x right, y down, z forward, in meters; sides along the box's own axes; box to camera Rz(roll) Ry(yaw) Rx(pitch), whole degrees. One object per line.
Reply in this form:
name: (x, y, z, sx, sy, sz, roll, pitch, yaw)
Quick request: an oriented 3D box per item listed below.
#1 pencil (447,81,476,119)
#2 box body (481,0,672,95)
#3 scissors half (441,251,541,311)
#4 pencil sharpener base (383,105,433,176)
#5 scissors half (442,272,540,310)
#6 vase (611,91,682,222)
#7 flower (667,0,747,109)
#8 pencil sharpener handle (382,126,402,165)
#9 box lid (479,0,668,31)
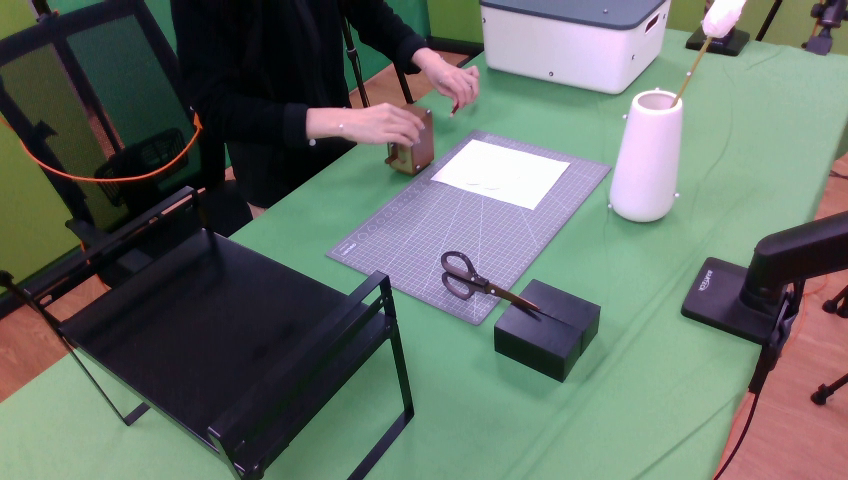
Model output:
pencil: (0.077, -0.289, 1.242, 0.012, 0.012, 0.194, 9, 37, 18)
box body: (0.341, -0.480, 1.381, 0.361, 0.161, 0.255, 22, 48, 30)
scissors half: (0.087, 0.056, 0.824, 0.173, 0.040, 0.013, 29, 44, 36)
pencil sharpener base: (-0.030, -0.183, 1.120, 0.061, 0.107, 0.077, 22, 44, 29)
scissors half: (0.089, 0.074, 0.833, 0.013, 0.040, 0.173, -24, 23, -38)
vase: (0.348, -0.125, 0.935, 0.098, 0.201, 0.097, -3, 40, 3)
flower: (0.354, -0.187, 0.879, 0.038, 0.362, 0.044, 31, 48, 14)
pencil sharpener handle: (-0.062, -0.167, 1.081, 0.036, 0.068, 0.031, 27, 47, 24)
box lid: (0.335, -0.536, 1.331, 0.368, 0.015, 0.264, 23, 49, 30)
